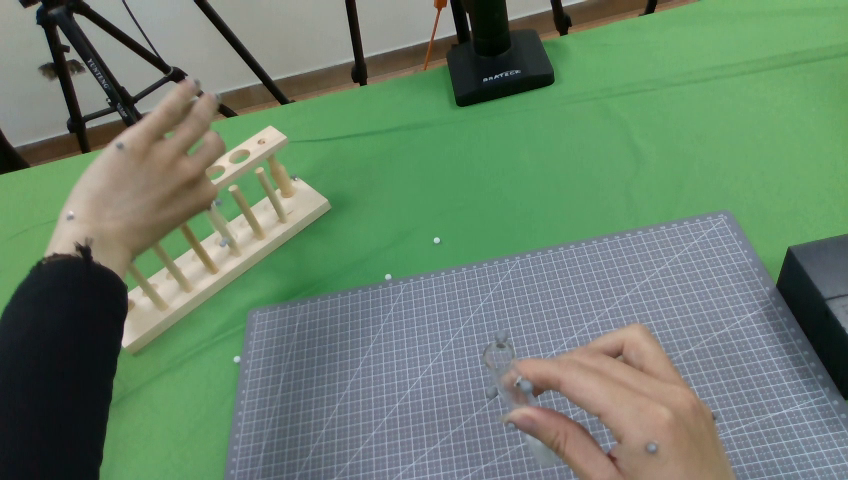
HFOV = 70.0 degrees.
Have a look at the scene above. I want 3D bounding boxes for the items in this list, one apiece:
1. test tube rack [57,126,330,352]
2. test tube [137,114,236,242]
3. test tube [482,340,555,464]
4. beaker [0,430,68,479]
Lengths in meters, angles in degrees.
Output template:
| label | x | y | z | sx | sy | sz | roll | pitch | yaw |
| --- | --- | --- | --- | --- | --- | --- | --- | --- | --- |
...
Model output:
| label | x | y | z | sx | sy | sz | roll | pitch | yaw |
| --- | --- | --- | --- | --- | --- | --- | --- | --- | --- |
| test tube rack | -0.220 | -0.006 | 0.607 | 0.242 | 0.086 | 0.066 | -39 | 50 | -19 |
| test tube | -0.213 | -0.052 | 0.553 | 0.017 | 0.152 | 0.017 | -10 | 46 | 11 |
| test tube | 0.056 | 0.097 | 0.338 | 0.017 | 0.152 | 0.017 | -11 | 51 | 14 |
| beaker | -0.329 | 0.184 | 0.458 | 0.073 | 0.101 | 0.083 | 9 | 52 | 23 |
